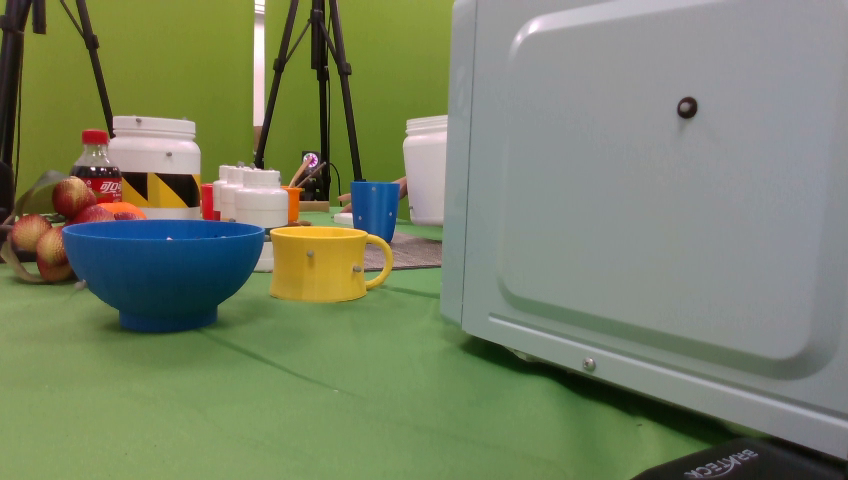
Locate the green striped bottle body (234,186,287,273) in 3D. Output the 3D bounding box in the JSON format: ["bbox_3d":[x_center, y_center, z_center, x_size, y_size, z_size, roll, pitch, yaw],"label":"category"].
[{"bbox_3d":[-0.200,-0.023,0.743,0.063,0.119,0.063,2,7,0],"label":"green striped bottle body"}]

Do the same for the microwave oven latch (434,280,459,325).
[{"bbox_3d":[0.044,0.045,0.470,0.079,0.029,0.030,-2,8,-39],"label":"microwave oven latch"}]

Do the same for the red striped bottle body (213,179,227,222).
[{"bbox_3d":[-0.284,-0.048,0.909,0.063,0.119,0.063,3,12,0],"label":"red striped bottle body"}]

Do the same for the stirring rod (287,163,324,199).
[{"bbox_3d":[-0.278,-0.105,1.293,0.176,0.006,0.014,-46,25,-18],"label":"stirring rod"}]

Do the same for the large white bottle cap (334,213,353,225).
[{"bbox_3d":[-0.145,-0.047,1.355,0.115,0.018,0.115,2,7,0],"label":"large white bottle cap"}]

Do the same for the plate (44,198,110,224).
[{"bbox_3d":[-0.617,-0.056,1.179,0.209,0.038,0.209,3,7,0],"label":"plate"}]

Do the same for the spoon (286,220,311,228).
[{"bbox_3d":[-0.232,-0.027,1.116,0.041,0.021,0.193,-22,6,4],"label":"spoon"}]

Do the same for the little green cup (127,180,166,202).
[{"bbox_3d":[-0.486,-0.086,1.061,0.061,0.038,0.061,1,7,0],"label":"little green cup"}]

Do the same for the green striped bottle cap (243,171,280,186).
[{"bbox_3d":[-0.198,-0.074,0.736,0.044,0.020,0.044,1,7,0],"label":"green striped bottle cap"}]

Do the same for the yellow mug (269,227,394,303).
[{"bbox_3d":[-0.094,0.023,0.629,0.131,0.064,0.099,0,7,-22],"label":"yellow mug"}]

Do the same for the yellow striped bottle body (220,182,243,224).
[{"bbox_3d":[-0.245,-0.036,0.825,0.063,0.120,0.063,3,8,0],"label":"yellow striped bottle body"}]

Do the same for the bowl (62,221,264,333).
[{"bbox_3d":[-0.209,0.029,0.496,0.151,0.077,0.151,2,7,0],"label":"bowl"}]

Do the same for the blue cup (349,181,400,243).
[{"bbox_3d":[-0.083,-0.047,1.012,0.093,0.100,0.092,2,6,0],"label":"blue cup"}]

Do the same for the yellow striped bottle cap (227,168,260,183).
[{"bbox_3d":[-0.243,-0.087,0.818,0.044,0.018,0.044,3,6,0],"label":"yellow striped bottle cap"}]

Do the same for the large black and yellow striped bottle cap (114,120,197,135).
[{"bbox_3d":[-0.407,-0.171,0.920,0.115,0.019,0.115,2,9,0],"label":"large black and yellow striped bottle cap"}]

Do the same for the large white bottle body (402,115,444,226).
[{"bbox_3d":[0.032,-0.124,1.057,0.131,0.184,0.130,-6,10,1],"label":"large white bottle body"}]

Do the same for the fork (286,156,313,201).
[{"bbox_3d":[-0.288,-0.117,1.319,0.028,0.019,0.207,-8,45,33],"label":"fork"}]

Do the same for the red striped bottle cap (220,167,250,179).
[{"bbox_3d":[-0.281,-0.099,0.901,0.044,0.017,0.044,-1,5,0],"label":"red striped bottle cap"}]

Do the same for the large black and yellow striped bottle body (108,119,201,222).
[{"bbox_3d":[-0.412,-0.088,0.930,0.131,0.184,0.130,3,7,0],"label":"large black and yellow striped bottle body"}]

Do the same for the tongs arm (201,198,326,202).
[{"bbox_3d":[-0.433,-0.089,1.508,0.390,0.028,0.028,-1,2,-29],"label":"tongs arm"}]

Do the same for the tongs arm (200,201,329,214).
[{"bbox_3d":[-0.378,-0.079,1.440,0.387,0.026,0.050,-4,7,-44],"label":"tongs arm"}]

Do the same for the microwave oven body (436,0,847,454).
[{"bbox_3d":[0.279,-0.040,0.465,0.444,0.260,0.324,-3,9,-41],"label":"microwave oven body"}]

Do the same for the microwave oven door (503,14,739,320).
[{"bbox_3d":[0.218,-0.065,0.600,0.358,0.243,0.039,-4,10,-41],"label":"microwave oven door"}]
